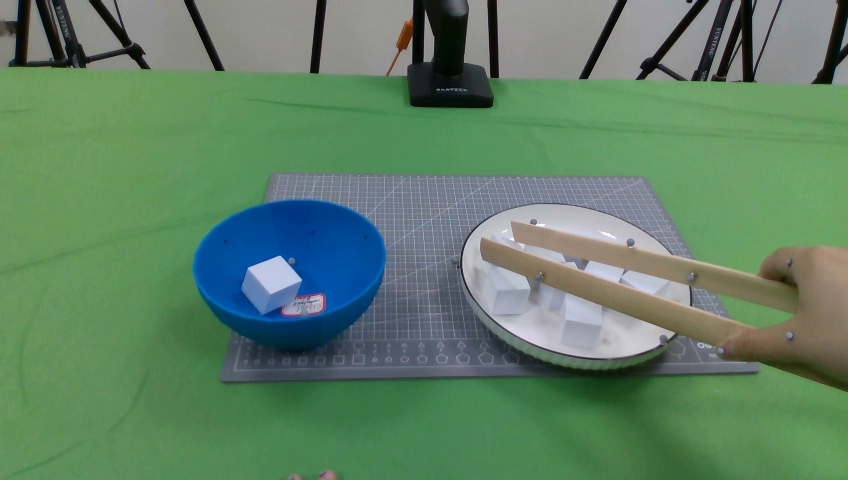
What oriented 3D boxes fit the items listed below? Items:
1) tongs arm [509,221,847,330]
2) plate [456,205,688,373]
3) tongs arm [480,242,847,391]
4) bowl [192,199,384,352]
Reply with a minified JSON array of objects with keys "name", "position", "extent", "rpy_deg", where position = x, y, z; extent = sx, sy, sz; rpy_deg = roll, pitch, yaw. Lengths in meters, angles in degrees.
[{"name":"tongs arm","position":[0.213,0.041,0.437],"extent":[0.381,0.027,0.051],"rpy_deg":[15,38,38]},{"name":"plate","position":[0.131,0.043,0.558],"extent":[0.208,0.039,0.205],"rpy_deg":[3,39,-2]},{"name":"tongs arm","position":[0.194,0.055,0.421],"extent":[0.384,0.028,0.028],"rpy_deg":[17,36,40]},{"name":"bowl","position":[-0.108,0.040,0.507],"extent":[0.151,0.077,0.150],"rpy_deg":[3,39,-2]}]
